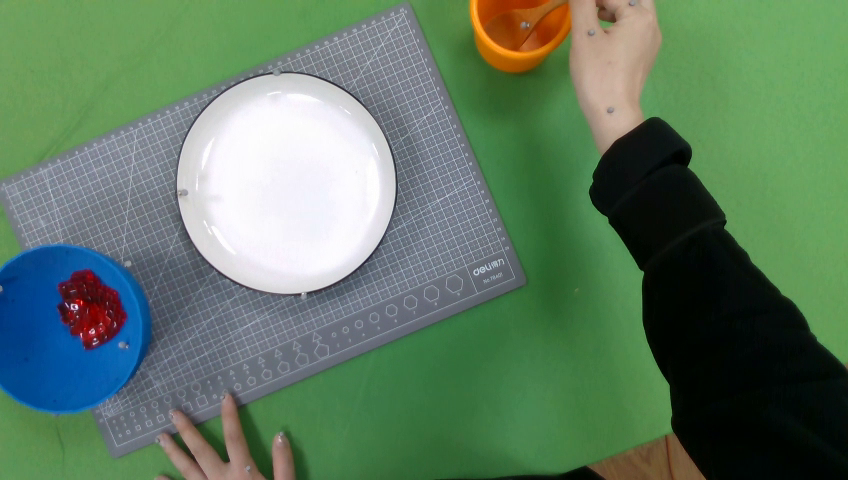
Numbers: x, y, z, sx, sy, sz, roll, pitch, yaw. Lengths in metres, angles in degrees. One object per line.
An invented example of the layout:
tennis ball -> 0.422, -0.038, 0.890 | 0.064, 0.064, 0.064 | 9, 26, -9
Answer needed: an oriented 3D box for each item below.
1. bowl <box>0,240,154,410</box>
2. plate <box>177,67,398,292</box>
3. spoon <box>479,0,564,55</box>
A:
bowl -> -0.316, 0.074, 0.566 | 0.151, 0.077, 0.151 | 0, 91, 1
plate -> -0.127, -0.056, 0.579 | 0.209, 0.038, 0.209 | 0, 91, 2
spoon -> 0.116, -0.203, 0.511 | 0.022, 0.193, 0.041 | -8, 89, -35
